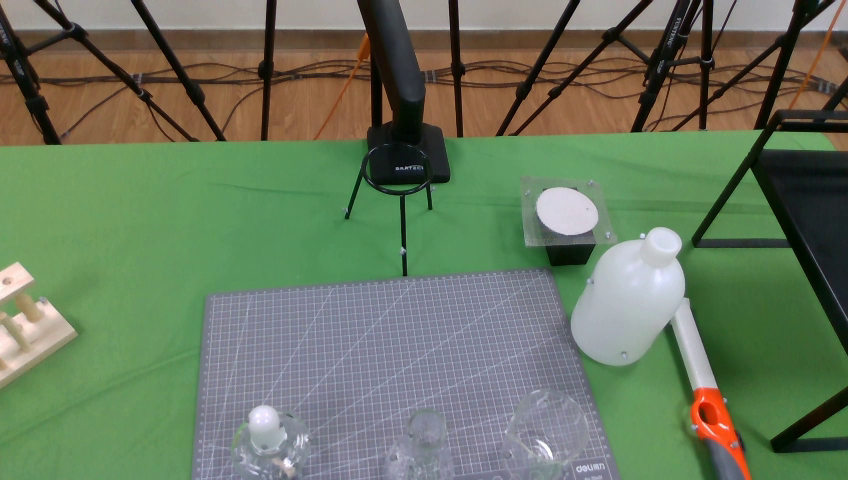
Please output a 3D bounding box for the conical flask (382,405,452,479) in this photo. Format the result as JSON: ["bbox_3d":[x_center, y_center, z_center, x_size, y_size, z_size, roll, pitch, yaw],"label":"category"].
[{"bbox_3d":[-0.004,0.205,0.602,0.075,0.123,0.074,3,52,-3],"label":"conical flask"}]

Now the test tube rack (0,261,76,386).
[{"bbox_3d":[-0.507,0.134,0.628,0.066,0.086,0.242,36,57,20],"label":"test tube rack"}]

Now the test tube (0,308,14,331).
[{"bbox_3d":[-0.472,0.053,0.632,0.017,0.151,0.017,1,51,0],"label":"test tube"}]

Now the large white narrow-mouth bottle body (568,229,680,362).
[{"bbox_3d":[0.236,0.056,0.700,0.102,0.196,0.101,3,52,-3],"label":"large white narrow-mouth bottle body"}]

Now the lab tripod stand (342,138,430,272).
[{"bbox_3d":[-0.040,-0.052,0.792,0.148,0.132,0.147,4,53,-5],"label":"lab tripod stand"}]

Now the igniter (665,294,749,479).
[{"bbox_3d":[0.331,0.183,0.719,0.057,0.025,0.273,8,51,-13],"label":"igniter"}]

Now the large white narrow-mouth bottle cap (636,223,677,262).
[{"bbox_3d":[0.241,0.003,0.632,0.038,0.024,0.037,3,52,-3],"label":"large white narrow-mouth bottle cap"}]

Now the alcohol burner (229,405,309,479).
[{"bbox_3d":[-0.154,0.194,0.600,0.078,0.120,0.077,4,51,-5],"label":"alcohol burner"}]

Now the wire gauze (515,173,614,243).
[{"bbox_3d":[0.188,-0.044,0.828,0.121,0.011,0.124,2,52,-4],"label":"wire gauze"}]

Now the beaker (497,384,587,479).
[{"bbox_3d":[0.115,0.206,0.629,0.084,0.101,0.073,-7,53,-10],"label":"beaker"}]

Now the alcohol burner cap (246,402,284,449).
[{"bbox_3d":[-0.151,0.172,0.571,0.034,0.048,0.033,2,47,-1],"label":"alcohol burner cap"}]
